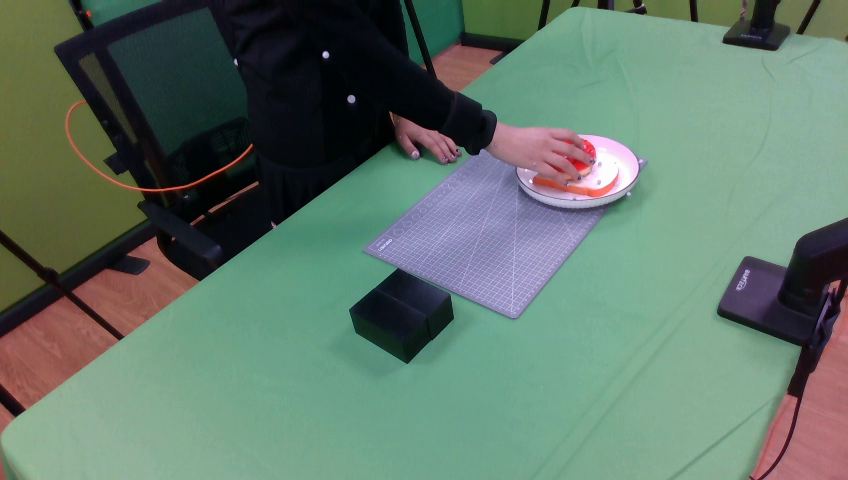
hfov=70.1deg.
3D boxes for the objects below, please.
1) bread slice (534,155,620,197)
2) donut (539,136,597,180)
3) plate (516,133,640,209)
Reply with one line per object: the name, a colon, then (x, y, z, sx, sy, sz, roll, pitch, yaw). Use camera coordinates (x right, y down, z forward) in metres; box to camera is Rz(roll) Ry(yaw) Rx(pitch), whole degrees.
bread slice: (0.274, -0.119, 1.057, 0.130, 0.019, 0.105, 19, 49, 30)
donut: (0.249, -0.143, 1.047, 0.099, 0.048, 0.098, -7, 41, 6)
plate: (0.266, -0.117, 1.054, 0.209, 0.038, 0.208, -5, 40, 5)
